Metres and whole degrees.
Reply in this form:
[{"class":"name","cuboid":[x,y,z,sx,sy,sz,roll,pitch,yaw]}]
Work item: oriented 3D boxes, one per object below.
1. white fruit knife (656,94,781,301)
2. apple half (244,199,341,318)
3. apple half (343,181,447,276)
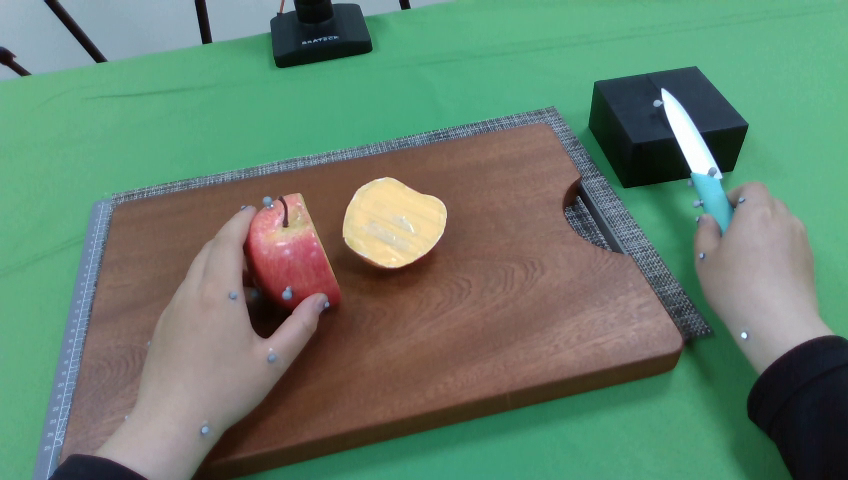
[{"class":"white fruit knife","cuboid":[0.226,-0.043,0.486,0.027,0.016,0.205,-9,59,-3]},{"class":"apple half","cuboid":[-0.095,0.019,0.423,0.053,0.075,0.080,-23,50,-9]},{"class":"apple half","cuboid":[-0.024,-0.003,0.465,0.081,0.033,0.080,0,61,0]}]
